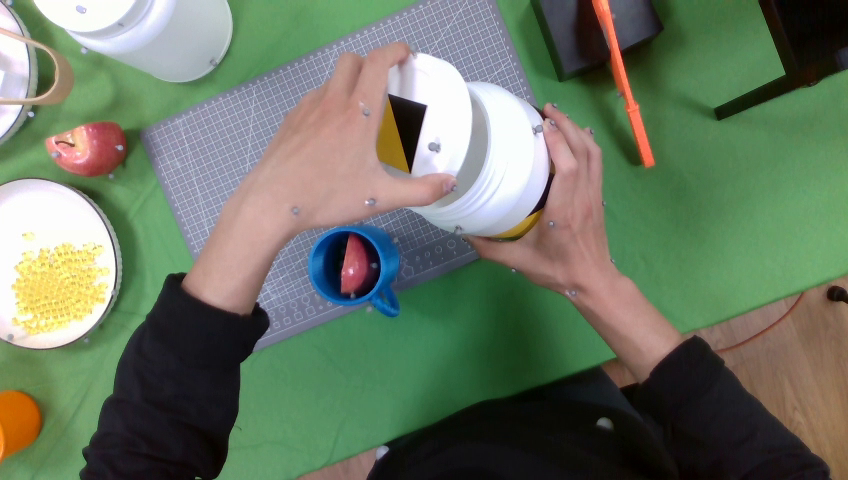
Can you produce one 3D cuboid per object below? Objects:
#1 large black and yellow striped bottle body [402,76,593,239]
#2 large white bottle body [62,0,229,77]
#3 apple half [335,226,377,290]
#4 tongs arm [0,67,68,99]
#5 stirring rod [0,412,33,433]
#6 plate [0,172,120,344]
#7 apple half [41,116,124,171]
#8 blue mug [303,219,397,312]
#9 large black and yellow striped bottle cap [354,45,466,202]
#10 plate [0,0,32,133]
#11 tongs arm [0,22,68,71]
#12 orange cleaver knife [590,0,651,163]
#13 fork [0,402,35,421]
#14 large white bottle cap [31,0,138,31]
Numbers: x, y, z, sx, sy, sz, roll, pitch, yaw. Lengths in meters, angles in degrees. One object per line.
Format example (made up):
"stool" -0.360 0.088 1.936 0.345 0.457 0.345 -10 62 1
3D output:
"large black and yellow striped bottle body" 0.060 -0.071 0.549 0.130 0.185 0.130 -3 84 37
"large white bottle body" -0.300 -0.254 0.632 0.130 0.184 0.130 0 93 5
"apple half" -0.067 0.021 0.665 0.032 0.081 0.081 11 95 11
"tongs arm" -0.600 -0.189 0.701 0.384 0.026 0.051 6 91 6
"stirring rod" -0.560 0.241 0.707 0.177 0.006 0.014 -16 81 -35
"plate" -0.466 0.021 0.738 0.209 0.038 0.209 0 95 5
"apple half" -0.390 -0.107 0.705 0.081 0.074 0.053 -19 96 2
"blue mug" -0.069 0.031 0.671 0.082 0.106 0.116 -38 91 6
"large black and yellow striped bottle cap" -0.014 -0.086 0.454 0.114 0.019 0.114 -6 82 49
"plate" -0.566 -0.212 0.728 0.207 0.039 0.208 0 94 4
"tongs arm" -0.584 -0.271 0.696 0.387 0.028 0.028 20 89 5
"orange cleaver knife" 0.206 -0.182 0.648 0.012 0.076 0.213 -20 118 14
"fork" -0.575 0.225 0.704 0.208 0.018 0.028 -7 93 -38
"large white bottle cap" -0.309 -0.249 0.547 0.115 0.018 0.115 0 94 5
